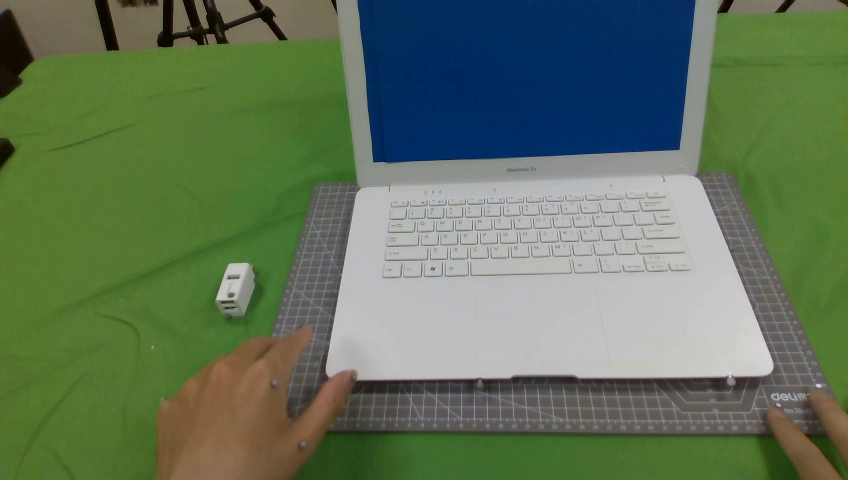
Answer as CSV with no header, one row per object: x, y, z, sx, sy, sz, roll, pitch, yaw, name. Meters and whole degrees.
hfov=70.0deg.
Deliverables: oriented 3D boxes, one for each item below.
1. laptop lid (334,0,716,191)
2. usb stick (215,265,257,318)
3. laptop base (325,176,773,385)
0.095,-0.161,0.590,0.356,0.243,0.013,-3,24,5,laptop lid
-0.174,0.043,0.567,0.021,0.027,0.058,-4,42,9,usb stick
0.098,0.029,0.557,0.354,0.023,0.233,-2,48,4,laptop base
